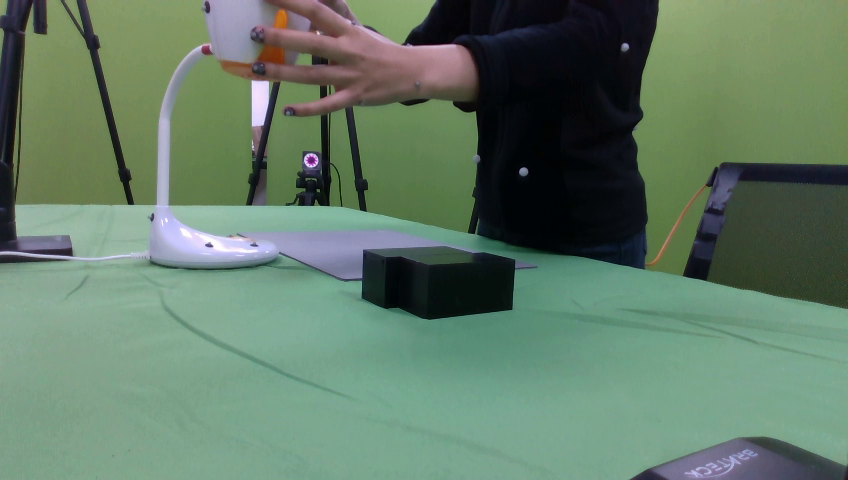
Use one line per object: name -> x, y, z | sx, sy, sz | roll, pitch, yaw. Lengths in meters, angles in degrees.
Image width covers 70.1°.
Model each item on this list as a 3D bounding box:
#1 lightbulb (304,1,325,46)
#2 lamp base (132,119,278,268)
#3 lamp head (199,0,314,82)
lightbulb -> -0.151, -0.283, 0.726 | 0.059, 0.107, 0.059 | -27, 2, 1
lamp base -> -0.279, -0.061, 0.771 | 0.160, 0.180, 0.180 | 9, 13, 43
lamp head -> -0.163, -0.214, 0.574 | 0.112, 0.123, 0.112 | 9, 8, -1
